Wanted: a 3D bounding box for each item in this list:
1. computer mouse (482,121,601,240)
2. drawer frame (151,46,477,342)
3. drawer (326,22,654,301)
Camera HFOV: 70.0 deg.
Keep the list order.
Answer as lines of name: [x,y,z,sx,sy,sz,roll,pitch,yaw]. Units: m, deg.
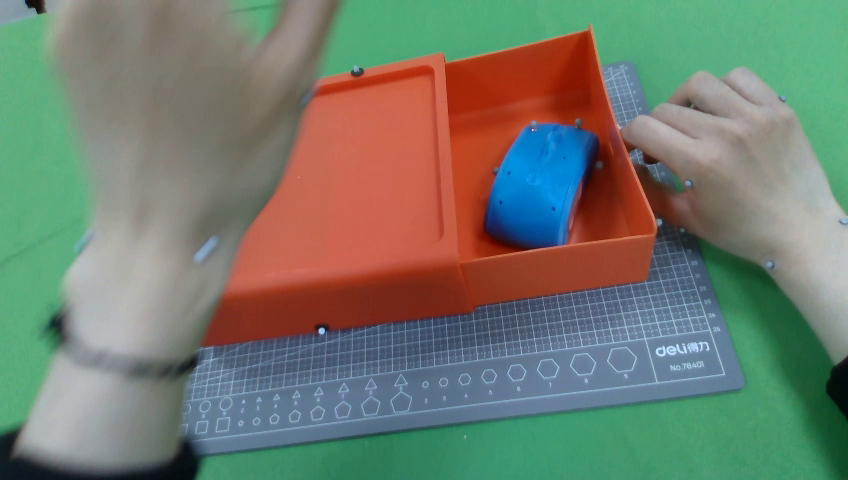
computer mouse: [0.087,-0.051,0.446,0.062,0.041,0.116,9,51,27]
drawer frame: [-0.073,-0.036,0.464,0.213,0.083,0.199,-10,56,9]
drawer: [0.039,-0.054,0.449,0.211,0.074,0.192,-9,57,8]
